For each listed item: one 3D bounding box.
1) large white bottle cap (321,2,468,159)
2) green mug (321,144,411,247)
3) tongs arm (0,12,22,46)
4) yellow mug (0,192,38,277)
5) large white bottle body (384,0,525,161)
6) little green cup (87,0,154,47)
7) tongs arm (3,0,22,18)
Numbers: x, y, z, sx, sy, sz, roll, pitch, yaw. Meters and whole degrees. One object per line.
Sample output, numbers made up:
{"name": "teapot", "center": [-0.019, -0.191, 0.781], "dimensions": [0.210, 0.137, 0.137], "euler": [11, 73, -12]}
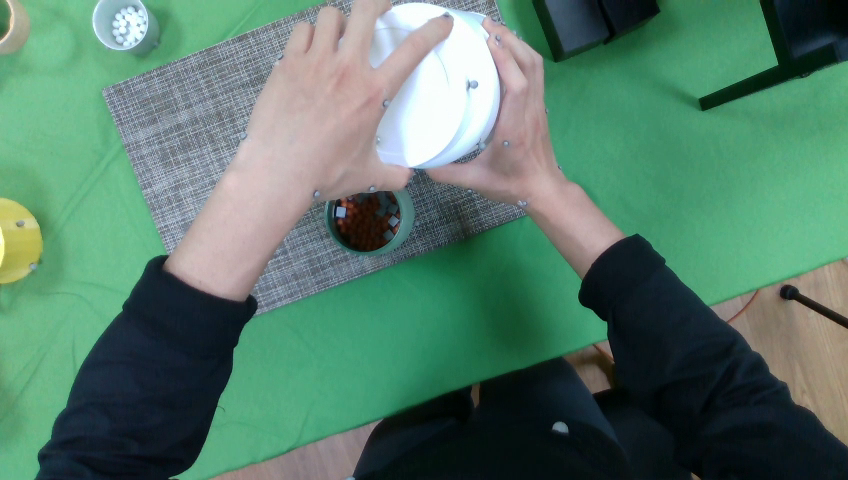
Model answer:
{"name": "large white bottle cap", "center": [-0.024, -0.118, 0.457], "dimensions": [0.114, 0.018, 0.115], "euler": [6, 109, 19]}
{"name": "green mug", "center": [-0.062, -0.052, 0.643], "dimensions": [0.092, 0.105, 0.125], "euler": [-4, 95, 1]}
{"name": "tongs arm", "center": [-0.619, -0.237, 0.635], "dimensions": [0.385, 0.026, 0.051], "euler": [8, 92, 2]}
{"name": "yellow mug", "center": [-0.501, 0.011, 0.674], "dimensions": [0.100, 0.064, 0.131], "euler": [12, 96, -1]}
{"name": "large white bottle body", "center": [0.007, -0.142, 0.533], "dimensions": [0.130, 0.184, 0.131], "euler": [7, 110, 20]}
{"name": "little green cup", "center": [-0.330, -0.242, 0.664], "dimensions": [0.061, 0.038, 0.061], "euler": [0, 96, 0]}
{"name": "tongs arm", "center": [-0.600, -0.318, 0.629], "dimensions": [0.387, 0.028, 0.028], "euler": [22, 88, 0]}
